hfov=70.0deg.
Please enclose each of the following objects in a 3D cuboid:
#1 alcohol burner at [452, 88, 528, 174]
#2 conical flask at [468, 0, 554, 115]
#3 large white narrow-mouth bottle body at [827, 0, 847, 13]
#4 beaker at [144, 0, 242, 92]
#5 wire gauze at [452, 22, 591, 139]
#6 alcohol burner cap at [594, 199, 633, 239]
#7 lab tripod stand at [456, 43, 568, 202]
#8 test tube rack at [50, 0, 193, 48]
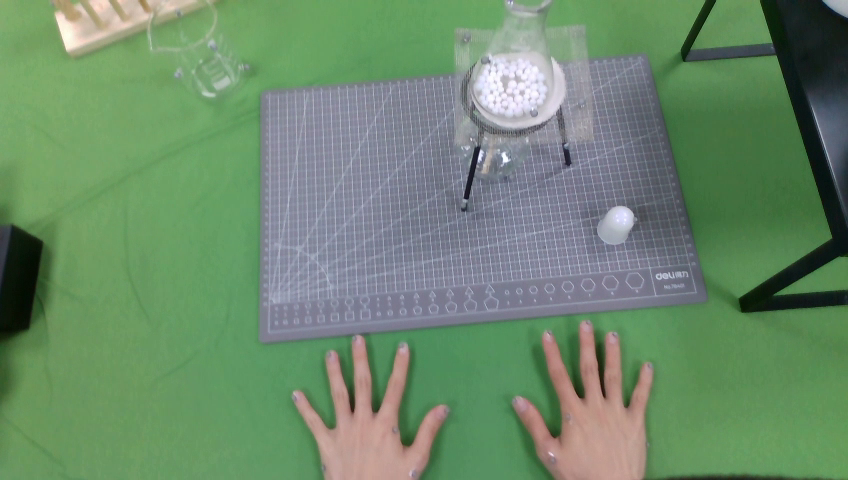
[{"bbox_3d":[0.068,-0.116,0.613,0.078,0.120,0.077,0,70,0],"label":"alcohol burner"},{"bbox_3d":[0.075,-0.162,0.485,0.075,0.122,0.075,-1,70,2],"label":"conical flask"},{"bbox_3d":[0.368,-0.256,0.421,0.102,0.196,0.101,-1,69,2],"label":"large white narrow-mouth bottle body"},{"bbox_3d":[-0.252,-0.217,0.671,0.073,0.101,0.084,41,77,15],"label":"beaker"},{"bbox_3d":[0.085,-0.146,0.542,0.121,0.011,0.124,1,69,0],"label":"wire gauze"},{"bbox_3d":[0.194,-0.024,0.614,0.034,0.048,0.033,-1,71,2],"label":"alcohol burner cap"},{"bbox_3d":[0.081,-0.119,0.603,0.148,0.132,0.147,0,69,1],"label":"lab tripod stand"},{"bbox_3d":[-0.337,-0.324,0.719,0.242,0.086,0.066,-24,71,-6],"label":"test tube rack"}]
